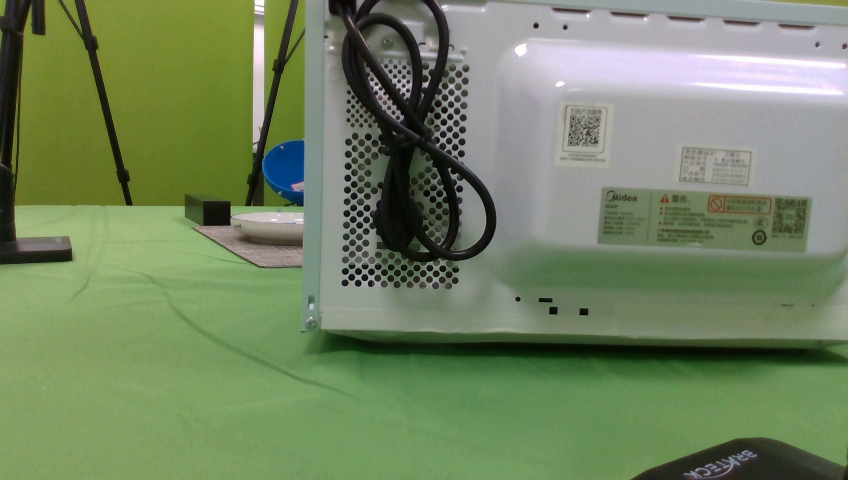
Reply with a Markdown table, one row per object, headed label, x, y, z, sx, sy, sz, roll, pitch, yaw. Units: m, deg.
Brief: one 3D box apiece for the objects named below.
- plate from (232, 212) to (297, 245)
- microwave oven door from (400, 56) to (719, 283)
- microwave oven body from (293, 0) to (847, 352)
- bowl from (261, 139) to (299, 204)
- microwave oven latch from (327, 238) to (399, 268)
| label | x | y | z | sx | sy | sz | roll | pitch | yaw |
| --- | --- | --- | --- | --- | --- | --- | --- | --- | --- |
| plate | -0.214 | -0.019 | 1.018 | 0.208 | 0.039 | 0.207 | 2 | 7 | 0 |
| microwave oven door | 0.155 | -0.077 | 0.698 | 0.356 | 0.243 | 0.039 | 2 | 8 | -5 |
| microwave oven body | 0.122 | -0.055 | 0.550 | 0.442 | 0.260 | 0.325 | 3 | 7 | -5 |
| bowl | -0.247 | -0.124 | 1.219 | 0.152 | 0.077 | 0.151 | 5 | 50 | -6 |
| microwave oven latch | -0.069 | 0.015 | 0.694 | 0.079 | 0.029 | 0.030 | 3 | 7 | -3 |
